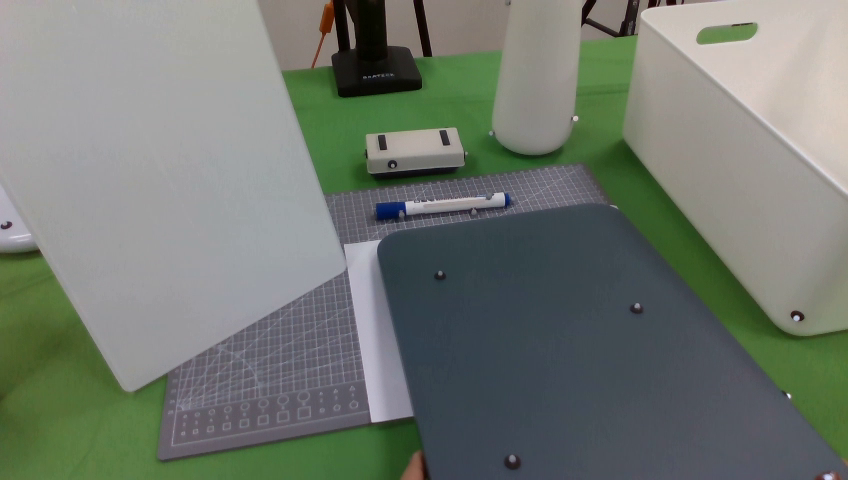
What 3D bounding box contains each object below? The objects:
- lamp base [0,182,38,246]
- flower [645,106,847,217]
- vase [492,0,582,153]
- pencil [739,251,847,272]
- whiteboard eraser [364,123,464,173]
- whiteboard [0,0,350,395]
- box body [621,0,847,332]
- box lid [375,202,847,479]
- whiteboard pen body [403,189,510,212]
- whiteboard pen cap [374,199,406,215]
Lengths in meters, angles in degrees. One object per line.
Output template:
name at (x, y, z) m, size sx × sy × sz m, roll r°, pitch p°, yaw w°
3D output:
lamp base at (-0.427, -0.110, 0.611) m, size 0.178 × 0.182 × 0.160 m, roll 20°, pitch 46°, yaw 24°
flower at (0.401, -0.059, 0.658) m, size 0.044 × 0.038 × 0.358 m, roll -27°, pitch 51°, yaw -33°
vase at (0.132, -0.201, 0.693) m, size 0.098 × 0.202 × 0.097 m, roll 1°, pitch 42°, yaw 0°
pencil at (0.400, 0.027, 0.573) m, size 0.194 × 0.012 × 0.012 m, roll 7°, pitch 43°, yaw 6°
whiteboard eraser at (-0.013, -0.105, 0.706) m, size 0.113 × 0.042 × 0.055 m, roll -7°, pitch 41°, yaw -6°
whiteboard at (-0.228, -0.071, 0.516) m, size 0.217 × 0.308 × 0.142 m, roll -30°, pitch 31°, yaw -28°
box body at (0.388, -0.098, 0.605) m, size 0.254 × 0.162 × 0.360 m, roll -9°, pitch 43°, yaw -8°
box lid at (0.111, 0.079, 0.488) m, size 0.264 × 0.015 × 0.367 m, roll -8°, pitch 35°, yaw -9°
whiteboard pen body at (0.023, -0.041, 0.650) m, size 0.141 × 0.017 × 0.017 m, roll -6°, pitch 42°, yaw -5°
whiteboard pen cap at (-0.036, -0.035, 0.644) m, size 0.033 × 0.018 × 0.018 m, roll -4°, pitch 42°, yaw -7°
